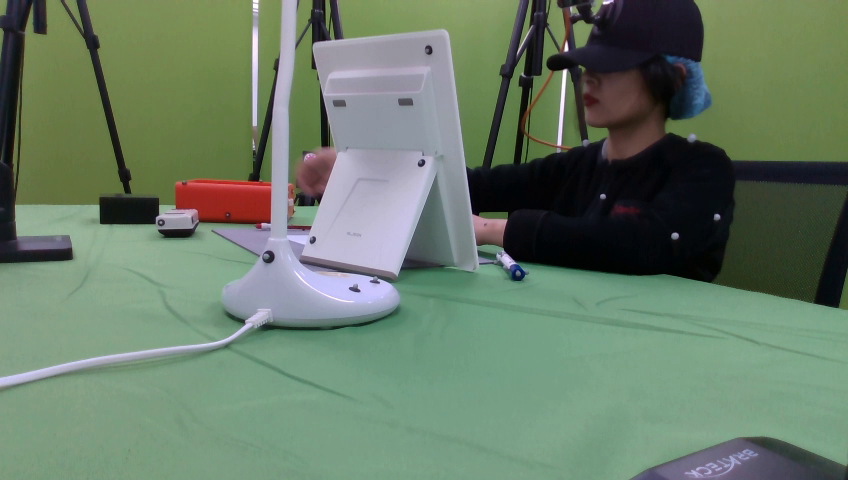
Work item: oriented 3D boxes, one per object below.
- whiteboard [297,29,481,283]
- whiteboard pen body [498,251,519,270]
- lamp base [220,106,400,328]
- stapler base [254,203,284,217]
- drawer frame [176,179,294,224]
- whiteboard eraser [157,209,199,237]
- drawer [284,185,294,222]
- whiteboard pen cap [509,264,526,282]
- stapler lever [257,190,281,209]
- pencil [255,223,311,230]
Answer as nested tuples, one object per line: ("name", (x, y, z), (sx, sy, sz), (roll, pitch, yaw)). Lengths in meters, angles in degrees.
("whiteboard", (-0.075, -0.082, 0.741), (0.216, 0.305, 0.144), (9, 29, 37))
("whiteboard pen body", (0.116, 0.032, 0.810), (0.017, 0.017, 0.140), (2, 8, -2))
("lamp base", (-0.101, -0.023, 0.531), (0.160, 0.180, 0.179), (4, 10, 10))
("stapler base", (-0.334, -0.068, 1.307), (0.041, 0.024, 0.130), (5, 6, -2))
("drawer frame", (-0.395, -0.085, 1.299), (0.214, 0.082, 0.201), (1, 8, -9))
("whiteboard eraser", (-0.411, -0.029, 1.016), (0.056, 0.042, 0.112), (2, 7, -16))
("drawer", (-0.390, -0.084, 1.301), (0.212, 0.073, 0.194), (1, 8, -8))
("whiteboard pen cap", (0.116, 0.040, 0.752), (0.018, 0.018, 0.033), (2, 10, -1))
("stapler lever", (-0.333, -0.091, 1.305), (0.027, 0.040, 0.118), (5, 9, -2))
("pencil", (-0.216, -0.023, 1.134), (0.195, 0.012, 0.012), (1, 7, -21))
